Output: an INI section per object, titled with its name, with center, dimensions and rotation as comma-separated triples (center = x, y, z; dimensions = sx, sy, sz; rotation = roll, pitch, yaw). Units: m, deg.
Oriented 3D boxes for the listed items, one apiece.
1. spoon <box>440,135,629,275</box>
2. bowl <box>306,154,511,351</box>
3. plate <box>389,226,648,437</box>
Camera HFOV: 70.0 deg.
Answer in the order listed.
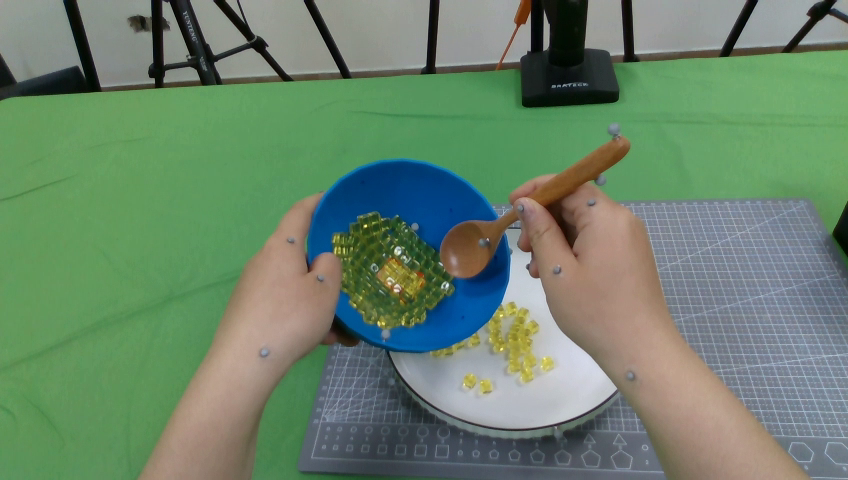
[spoon]
center = 0.060, -0.017, 0.388
dimensions = 0.022, 0.194, 0.041
rotation = -13, 78, -27
[bowl]
center = -0.017, 0.019, 0.465
dimensions = 0.152, 0.077, 0.150
rotation = 6, 66, -13
[plate]
center = 0.074, 0.071, 0.500
dimensions = 0.207, 0.039, 0.205
rotation = -4, 44, 4
